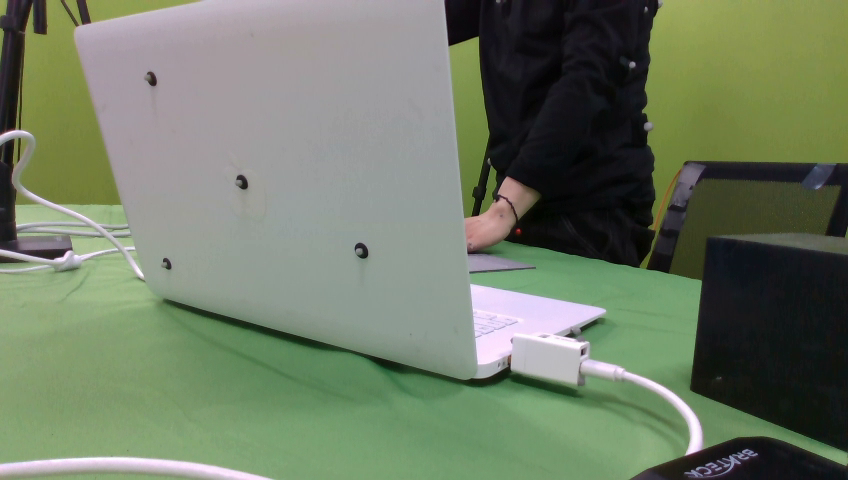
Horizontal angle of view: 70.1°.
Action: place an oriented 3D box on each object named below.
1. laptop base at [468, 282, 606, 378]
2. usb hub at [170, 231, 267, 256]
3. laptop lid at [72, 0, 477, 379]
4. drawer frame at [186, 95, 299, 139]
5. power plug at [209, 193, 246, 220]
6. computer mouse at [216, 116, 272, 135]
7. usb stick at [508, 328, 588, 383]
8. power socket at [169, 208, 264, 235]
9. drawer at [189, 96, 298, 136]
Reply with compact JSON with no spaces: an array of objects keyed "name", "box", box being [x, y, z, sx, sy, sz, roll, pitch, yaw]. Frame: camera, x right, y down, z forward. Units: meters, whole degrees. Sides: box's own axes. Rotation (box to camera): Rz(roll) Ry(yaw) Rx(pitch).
[{"name":"laptop base","box":[-0.042,0.058,0.554,0.352,0.023,0.237,7,7,35]},{"name":"usb hub","box":[-0.290,0.004,0.862,0.049,0.025,0.126,10,11,42]},{"name":"laptop lid","box":[-0.125,-0.042,0.418,0.355,0.241,0.013,9,25,34]},{"name":"drawer frame","box":[-0.417,-0.277,1.378,0.203,0.082,0.212,-3,8,-32]},{"name":"power plug","box":[-0.388,-0.067,1.206,0.072,0.052,0.035,4,8,27]},{"name":"computer mouse","box":[-0.402,-0.258,1.353,0.118,0.041,0.062,-7,16,-34]},{"name":"usb stick","box":[0.072,0.072,0.383,0.059,0.027,0.021,2,2,34]},{"name":"power socket","box":[-0.381,-0.038,1.129,0.072,0.032,0.227,4,8,16]},{"name":"drawer","box":[-0.414,-0.275,1.376,0.195,0.073,0.210,-3,8,-31]}]
